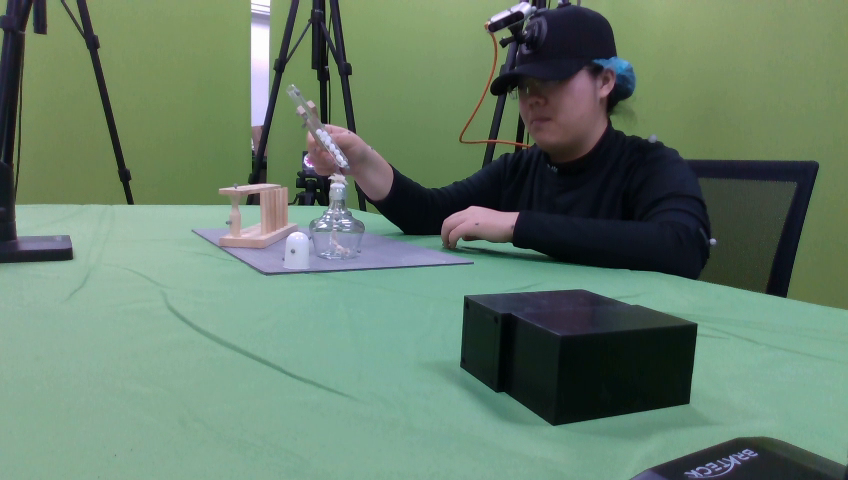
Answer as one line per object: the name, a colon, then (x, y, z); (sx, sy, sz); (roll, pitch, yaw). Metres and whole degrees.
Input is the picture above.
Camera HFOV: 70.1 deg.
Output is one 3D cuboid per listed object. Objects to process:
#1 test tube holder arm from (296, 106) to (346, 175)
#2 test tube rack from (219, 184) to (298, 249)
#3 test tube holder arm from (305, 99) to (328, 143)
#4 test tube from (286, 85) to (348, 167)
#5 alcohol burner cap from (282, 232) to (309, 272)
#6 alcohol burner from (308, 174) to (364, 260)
test tube holder arm: (-0.151, -0.146, 0.910); (0.015, 0.013, 0.179); (47, -7, 25)
test tube rack: (-0.266, -0.046, 1.001); (0.067, 0.085, 0.242); (3, 7, 0)
test tube holder arm: (-0.154, -0.168, 0.871); (0.010, 0.015, 0.088); (-37, -25, -15)
test tube: (-0.150, -0.160, 0.844); (0.017, 0.150, 0.017); (-33, -16, -11)
alcohol burner cap: (-0.157, 0.014, 0.740); (0.034, 0.048, 0.034); (3, 6, 0)
alcohol burner: (-0.121, -0.033, 0.841); (0.078, 0.119, 0.078); (3, 5, 0)
